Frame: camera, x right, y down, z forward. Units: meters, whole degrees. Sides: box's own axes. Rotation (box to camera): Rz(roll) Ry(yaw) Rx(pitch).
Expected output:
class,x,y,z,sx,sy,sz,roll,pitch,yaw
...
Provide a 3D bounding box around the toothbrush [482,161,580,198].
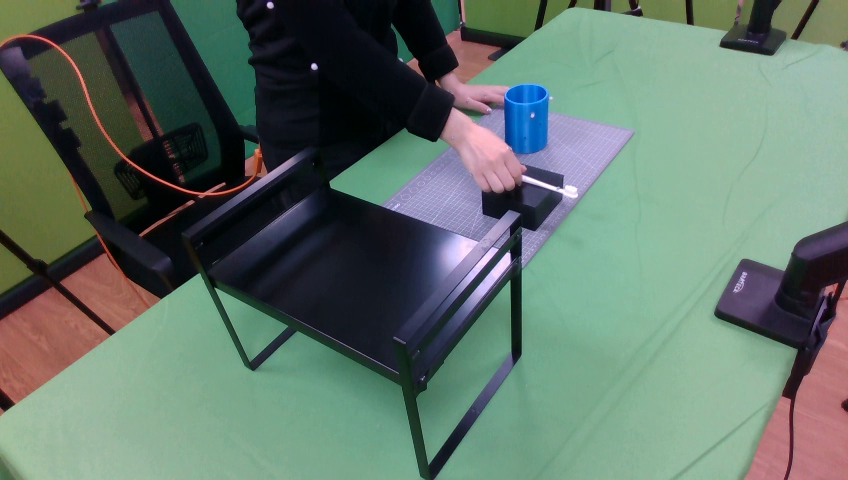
class,x,y,z,sx,sy,sz,roll,pitch,yaw
toothbrush,0.172,-0.103,0.996,0.180,0.017,0.014,23,70,32

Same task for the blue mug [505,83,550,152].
class,x,y,z,sx,sy,sz,roll,pitch,yaw
blue mug,0.204,-0.243,1.160,0.082,0.106,0.116,14,45,24
